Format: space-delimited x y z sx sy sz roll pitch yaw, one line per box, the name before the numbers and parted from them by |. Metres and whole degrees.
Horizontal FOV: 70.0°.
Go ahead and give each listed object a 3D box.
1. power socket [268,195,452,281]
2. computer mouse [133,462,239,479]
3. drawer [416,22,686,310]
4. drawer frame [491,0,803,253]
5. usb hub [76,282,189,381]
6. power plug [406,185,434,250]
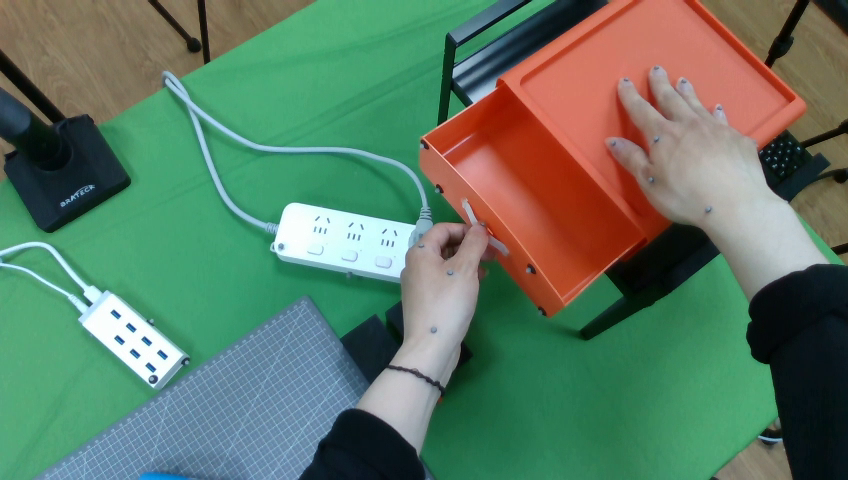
power socket | -0.078 -0.003 0.745 0.227 0.033 0.072 11 73 1
computer mouse | -0.259 0.276 0.648 0.117 0.041 0.062 5 74 3
drawer | 0.131 -0.074 0.563 0.211 0.073 0.193 -37 78 -12
drawer frame | 0.203 -0.129 0.582 0.213 0.083 0.200 -37 78 -13
usb hub | -0.339 0.106 0.704 0.125 0.025 0.049 37 76 8
power plug | 0.002 -0.022 0.735 0.035 0.053 0.072 22 71 5
